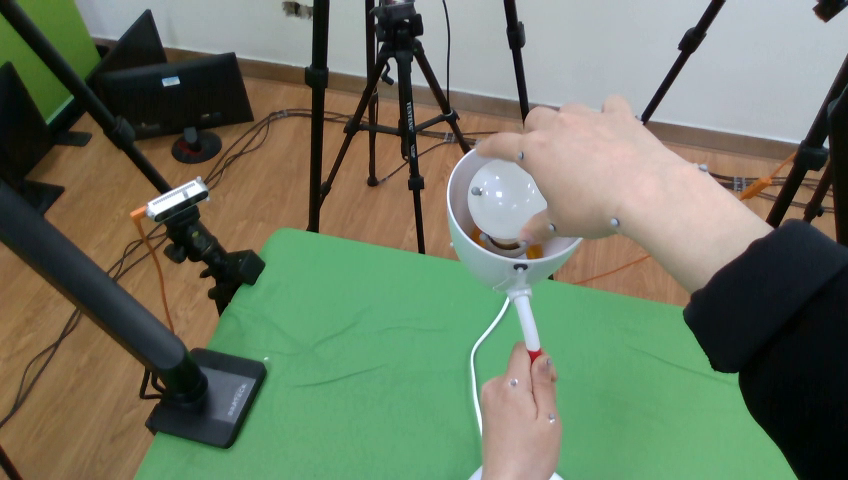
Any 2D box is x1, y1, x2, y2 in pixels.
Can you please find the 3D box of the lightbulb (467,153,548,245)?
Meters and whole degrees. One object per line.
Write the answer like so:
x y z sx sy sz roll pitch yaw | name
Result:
0.064 -0.025 0.472 0.059 0.108 0.059 -2 66 5 | lightbulb

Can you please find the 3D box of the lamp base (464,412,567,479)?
0.103 0.271 0.645 0.161 0.182 0.177 -22 52 -17 | lamp base

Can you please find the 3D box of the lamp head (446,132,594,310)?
0.072 -0.006 0.497 0.112 0.124 0.111 0 57 0 | lamp head
